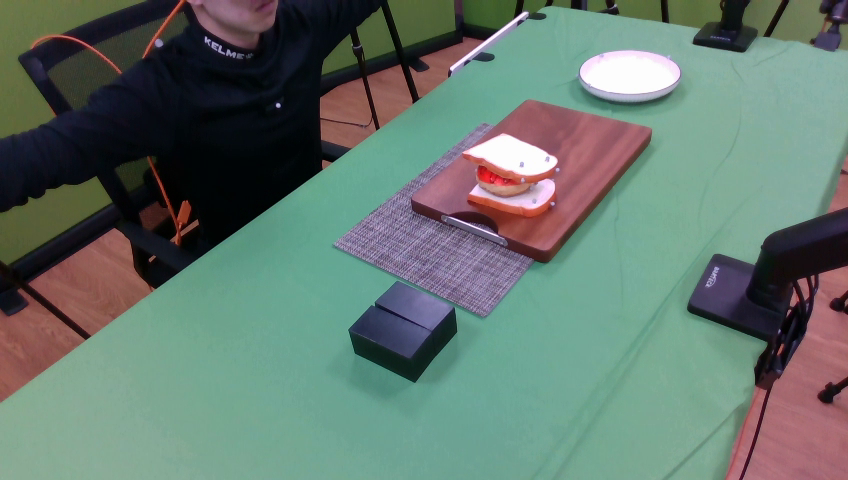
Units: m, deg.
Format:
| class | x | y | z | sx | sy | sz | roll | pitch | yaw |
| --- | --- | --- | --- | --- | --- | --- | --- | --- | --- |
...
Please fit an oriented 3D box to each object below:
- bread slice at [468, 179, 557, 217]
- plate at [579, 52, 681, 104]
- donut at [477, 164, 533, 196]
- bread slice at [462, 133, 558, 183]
| class | x | y | z | sx | sy | sz | roll | pitch | yaw |
| --- | --- | --- | --- | --- | --- | --- | --- | --- | --- |
| bread slice | 0.154 | -0.083 | 1.003 | 0.130 | 0.019 | 0.105 | 19 | 48 | 29 |
| plate | 0.437 | -0.343 | 1.294 | 0.209 | 0.038 | 0.208 | -4 | 40 | 4 |
| donut | 0.136 | -0.109 | 0.991 | 0.099 | 0.048 | 0.098 | -4 | 39 | 3 |
| bread slice | 0.146 | -0.131 | 0.971 | 0.133 | 0.018 | 0.107 | 29 | 43 | 32 |
